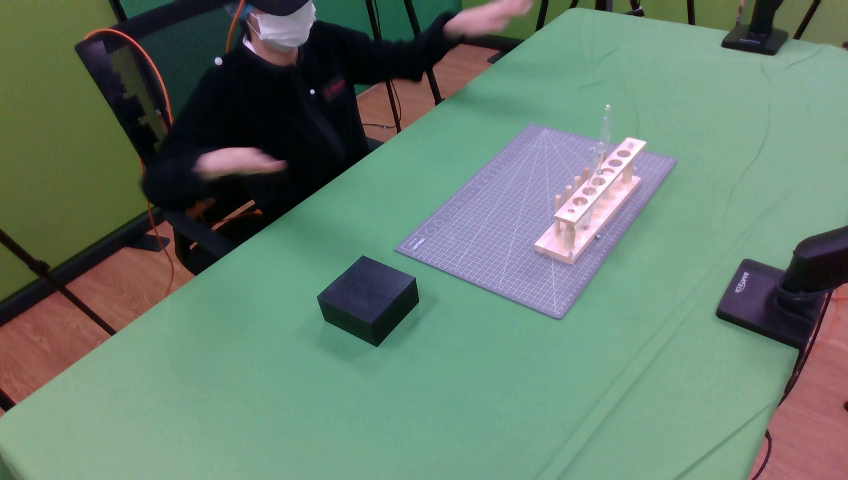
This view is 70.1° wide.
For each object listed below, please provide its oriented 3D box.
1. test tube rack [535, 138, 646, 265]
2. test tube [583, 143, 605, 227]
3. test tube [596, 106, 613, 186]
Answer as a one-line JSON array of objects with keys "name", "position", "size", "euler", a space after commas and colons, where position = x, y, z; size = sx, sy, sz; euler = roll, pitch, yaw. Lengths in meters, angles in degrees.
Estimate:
[{"name": "test tube rack", "position": [0.268, -0.071, 0.964], "size": [0.066, 0.085, 0.243], "euler": [23, 49, 32]}, {"name": "test tube", "position": [0.251, -0.077, 0.896], "size": [0.017, 0.151, 0.017], "euler": [-3, 43, 3]}, {"name": "test tube", "position": [0.294, -0.150, 0.984], "size": [0.017, 0.151, 0.017], "euler": [-5, 40, 4]}]
